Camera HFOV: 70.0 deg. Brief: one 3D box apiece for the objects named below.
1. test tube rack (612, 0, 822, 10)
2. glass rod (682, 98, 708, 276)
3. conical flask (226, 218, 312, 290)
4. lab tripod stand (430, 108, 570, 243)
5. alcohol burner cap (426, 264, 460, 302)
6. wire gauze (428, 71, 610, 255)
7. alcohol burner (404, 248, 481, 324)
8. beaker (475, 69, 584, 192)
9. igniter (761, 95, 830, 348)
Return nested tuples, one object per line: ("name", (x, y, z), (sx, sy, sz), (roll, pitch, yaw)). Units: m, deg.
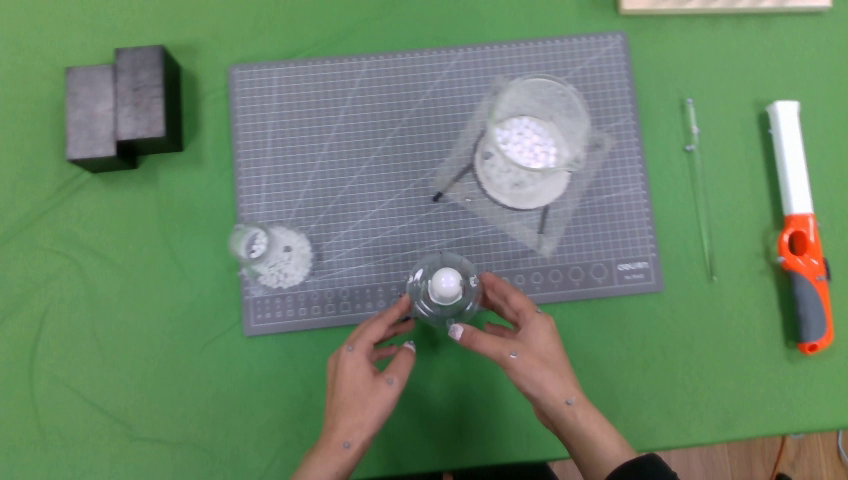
("test tube rack", (0.337, -0.308, 0.664), (0.242, 0.085, 0.066), (-2, 82, -1))
("glass rod", (0.300, -0.060, 0.670), (0.008, 0.008, 0.199), (-5, 86, -2))
("conical flask", (-0.155, 0.008, 0.589), (0.075, 0.122, 0.075), (0, 82, -1))
("lab tripod stand", (0.080, -0.063, 0.599), (0.148, 0.132, 0.148), (0, 84, 0))
("alcohol burner cap", (0.019, 0.037, 0.558), (0.034, 0.048, 0.033), (1, 75, -2))
("wire gauze", (0.084, -0.070, 0.533), (0.125, 0.011, 0.121), (31, 86, 1))
("alcohol burner", (0.018, 0.044, 0.593), (0.078, 0.119, 0.077), (0, 83, 1))
("beaker", (0.081, -0.080, 0.486), (0.084, 0.100, 0.074), (45, 84, 5))
("igniter", (0.403, -0.023, 0.658), (0.057, 0.025, 0.275), (-2, 82, -13))
